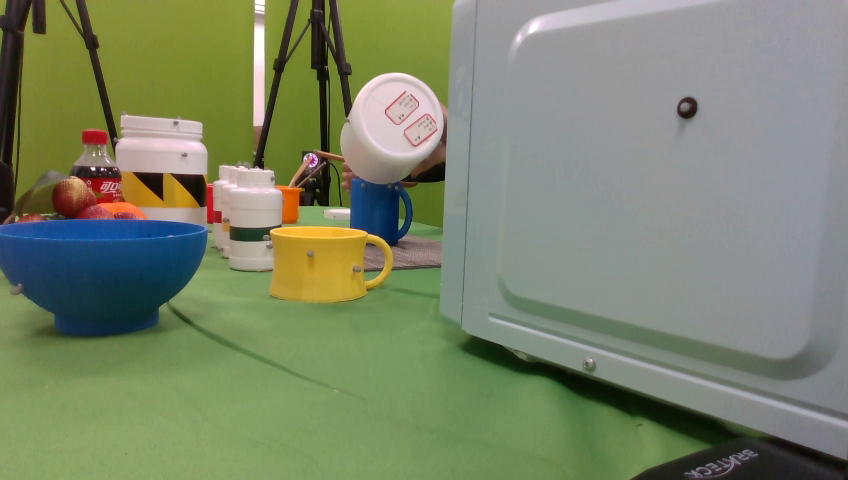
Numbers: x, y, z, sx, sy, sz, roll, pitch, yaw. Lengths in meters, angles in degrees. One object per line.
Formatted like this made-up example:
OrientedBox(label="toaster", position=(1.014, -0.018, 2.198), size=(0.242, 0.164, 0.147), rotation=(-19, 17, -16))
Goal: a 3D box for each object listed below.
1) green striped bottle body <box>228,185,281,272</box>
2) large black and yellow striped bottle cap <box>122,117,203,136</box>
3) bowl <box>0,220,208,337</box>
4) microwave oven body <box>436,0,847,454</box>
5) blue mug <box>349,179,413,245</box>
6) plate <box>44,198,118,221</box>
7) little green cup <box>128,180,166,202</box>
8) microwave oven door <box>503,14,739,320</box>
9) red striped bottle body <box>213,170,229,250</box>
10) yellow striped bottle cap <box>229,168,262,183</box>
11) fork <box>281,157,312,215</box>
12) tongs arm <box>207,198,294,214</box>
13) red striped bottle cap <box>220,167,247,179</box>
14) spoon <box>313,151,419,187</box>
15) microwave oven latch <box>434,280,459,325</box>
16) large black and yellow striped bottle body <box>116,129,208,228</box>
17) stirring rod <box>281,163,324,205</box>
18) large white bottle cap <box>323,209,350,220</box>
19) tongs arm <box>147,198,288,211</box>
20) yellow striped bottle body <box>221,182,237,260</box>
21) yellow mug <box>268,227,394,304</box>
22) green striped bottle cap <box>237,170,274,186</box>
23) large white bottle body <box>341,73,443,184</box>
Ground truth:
OrientedBox(label="green striped bottle body", position=(-0.208, -0.024, 0.745), size=(0.063, 0.119, 0.063), rotation=(2, 7, 0))
OrientedBox(label="large black and yellow striped bottle cap", position=(-0.399, -0.174, 0.927), size=(0.115, 0.019, 0.115), rotation=(5, 9, -1))
OrientedBox(label="bowl", position=(-0.251, 0.029, 0.479), size=(0.151, 0.077, 0.151), rotation=(2, 7, 0))
OrientedBox(label="microwave oven body", position=(0.279, -0.040, 0.464), size=(0.444, 0.260, 0.324), rotation=(-3, 9, -41))
OrientedBox(label="blue mug", position=(-0.069, -0.047, 1.001), size=(0.116, 0.106, 0.083), rotation=(6, 9, 29))
OrientedBox(label="plate", position=(-0.617, -0.056, 1.179), size=(0.209, 0.038, 0.209), rotation=(3, 7, 0))
OrientedBox(label="little green cup", position=(-0.485, -0.087, 1.062), size=(0.061, 0.038, 0.061), rotation=(-1, 6, 0))
OrientedBox(label="microwave oven door", position=(0.217, -0.065, 0.600), size=(0.358, 0.243, 0.039), rotation=(-4, 10, -41))
OrientedBox(label="red striped bottle body", position=(-0.283, -0.047, 0.909), size=(0.063, 0.119, 0.063), rotation=(2, 13, 0))
OrientedBox(label="yellow striped bottle cap", position=(-0.240, -0.087, 0.816), size=(0.044, 0.018, 0.044), rotation=(-3, 5, 1))
OrientedBox(label="fork", position=(-0.289, -0.116, 1.321), size=(0.028, 0.019, 0.207), rotation=(6, 51, 19))
OrientedBox(label="tongs arm", position=(-0.423, -0.084, 1.472), size=(0.050, 0.026, 0.386), rotation=(1, 6, 22))
OrientedBox(label="red striped bottle cap", position=(-0.281, -0.099, 0.901), size=(0.044, 0.017, 0.044), rotation=(-1, 5, 0))
OrientedBox(label="spoon", position=(-0.104, -0.129, 1.082), size=(0.194, 0.021, 0.041), rotation=(20, 4, -5))
OrientedBox(label="microwave oven latch", position=(0.044, 0.045, 0.470), size=(0.079, 0.029, 0.030), rotation=(-2, 8, -39))
OrientedBox(label="large black and yellow striped bottle body", position=(-0.404, -0.089, 0.937), size=(0.131, 0.184, 0.130), rotation=(3, 7, 0))
OrientedBox(label="stirring rod", position=(-0.278, -0.105, 1.293), size=(0.176, 0.006, 0.014), rotation=(-47, 25, -18))
OrientedBox(label="large white bottle cap", position=(-0.184, -0.062, 1.450), size=(0.115, 0.018, 0.115), rotation=(2, 7, 0))
OrientedBox(label="tongs arm", position=(-0.503, -0.090, 1.513), size=(0.028, 0.028, 0.389), rotation=(-1, 4, 38))
OrientedBox(label="yellow striped bottle body", position=(-0.243, -0.035, 0.823), size=(0.063, 0.120, 0.063), rotation=(2, 8, 0))
OrientedBox(label="yellow mug", position=(-0.094, 0.023, 0.629), size=(0.131, 0.064, 0.099), rotation=(0, 8, -22))
OrientedBox(label="green striped bottle cap", position=(-0.205, -0.075, 0.737), size=(0.044, 0.020, 0.044), rotation=(1, 6, 0))
OrientedBox(label="large white bottle body", position=(-0.055, -0.157, 0.911), size=(0.131, 0.130, 0.184), rotation=(1, -7, -14))
